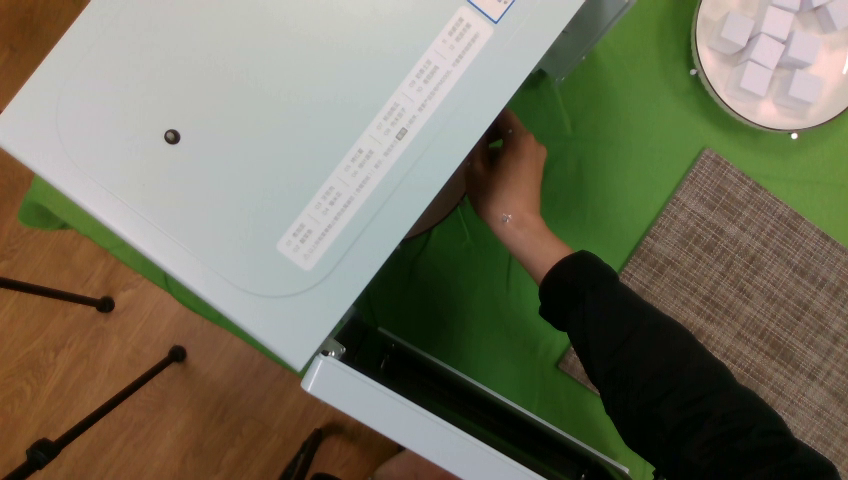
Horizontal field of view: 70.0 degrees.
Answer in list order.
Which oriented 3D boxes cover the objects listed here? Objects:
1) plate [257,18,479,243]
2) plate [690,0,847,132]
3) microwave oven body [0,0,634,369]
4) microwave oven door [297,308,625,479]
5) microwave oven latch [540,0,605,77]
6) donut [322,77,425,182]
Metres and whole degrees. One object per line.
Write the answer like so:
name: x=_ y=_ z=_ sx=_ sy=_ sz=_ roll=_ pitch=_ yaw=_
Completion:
plate: x=-0.052 y=-0.103 z=0.582 sx=0.209 sy=0.038 sz=0.209 roll=0 pitch=96 yaw=-2
plate: x=0.395 y=-0.222 z=0.677 sx=0.208 sy=0.039 sz=0.207 roll=0 pitch=90 yaw=-3
microwave oven body: x=-0.066 y=-0.164 z=0.541 sx=0.326 sy=0.260 sz=0.441 roll=38 pitch=89 yaw=-3
microwave oven door: x=0.066 y=0.177 z=0.546 sx=0.356 sy=0.243 sz=0.039 roll=30 pitch=88 yaw=-2
microwave oven latch: x=0.156 y=-0.214 z=0.647 sx=0.030 sy=0.029 sz=0.079 roll=42 pitch=89 yaw=-3
donut: x=-0.048 y=-0.104 z=0.574 sx=0.099 sy=0.048 sz=0.099 roll=0 pitch=96 yaw=1
